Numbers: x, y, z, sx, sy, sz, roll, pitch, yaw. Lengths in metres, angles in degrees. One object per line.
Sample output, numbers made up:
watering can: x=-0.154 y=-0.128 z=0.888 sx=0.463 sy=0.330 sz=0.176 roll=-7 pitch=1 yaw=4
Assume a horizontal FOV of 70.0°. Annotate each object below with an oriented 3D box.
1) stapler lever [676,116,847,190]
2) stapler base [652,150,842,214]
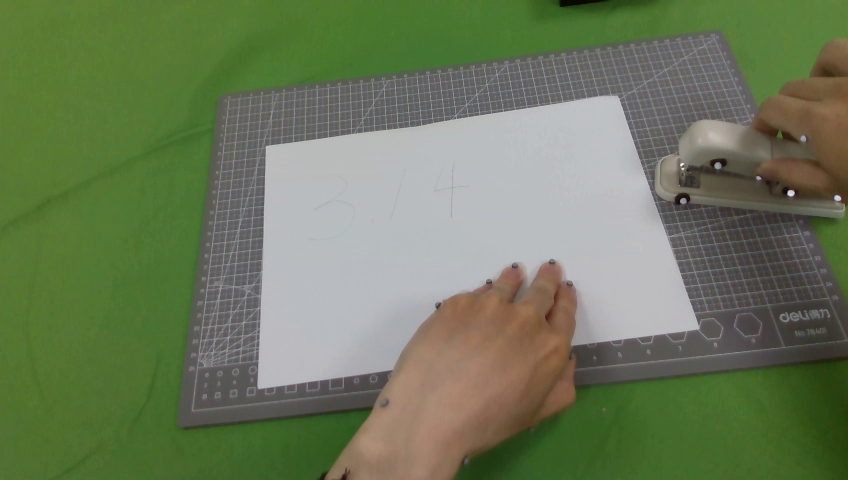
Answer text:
stapler lever: x=0.236 y=-0.060 z=0.418 sx=0.118 sy=0.040 sz=0.026 roll=8 pitch=64 yaw=8
stapler base: x=0.236 y=-0.048 z=0.440 sx=0.130 sy=0.024 sz=0.041 roll=8 pitch=64 yaw=9
